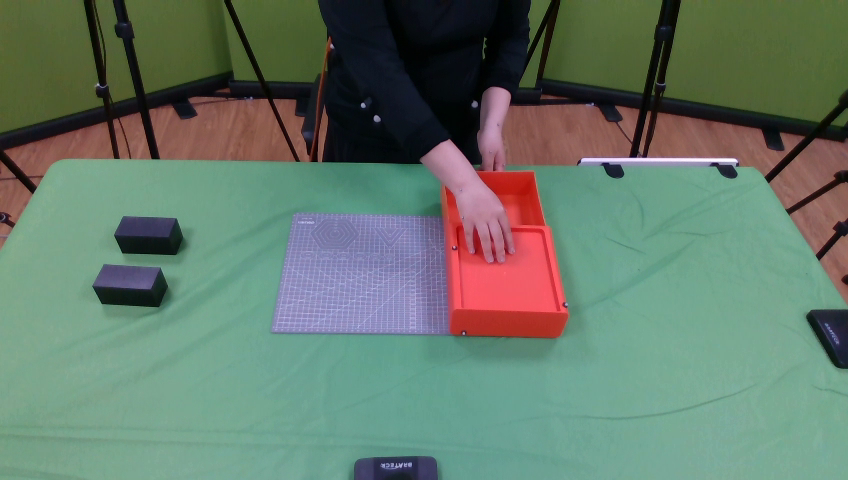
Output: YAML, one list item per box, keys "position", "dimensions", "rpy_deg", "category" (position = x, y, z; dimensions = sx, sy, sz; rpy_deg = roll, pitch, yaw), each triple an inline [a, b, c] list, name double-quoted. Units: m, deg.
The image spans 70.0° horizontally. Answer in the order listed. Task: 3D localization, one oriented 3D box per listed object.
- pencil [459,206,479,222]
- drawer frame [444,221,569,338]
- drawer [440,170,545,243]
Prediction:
- position: [0.130, -0.013, 1.209]
  dimensions: [0.012, 0.012, 0.193]
  rpy_deg: [-27, 54, -27]
  category: "pencil"
- position: [0.142, 0.068, 1.098]
  dimensions: [0.202, 0.083, 0.212]
  rpy_deg: [2, 46, -4]
  category: "drawer frame"
- position: [0.135, -0.042, 1.200]
  dimensions: [0.195, 0.073, 0.210]
  rpy_deg: [1, 50, -5]
  category: "drawer"
